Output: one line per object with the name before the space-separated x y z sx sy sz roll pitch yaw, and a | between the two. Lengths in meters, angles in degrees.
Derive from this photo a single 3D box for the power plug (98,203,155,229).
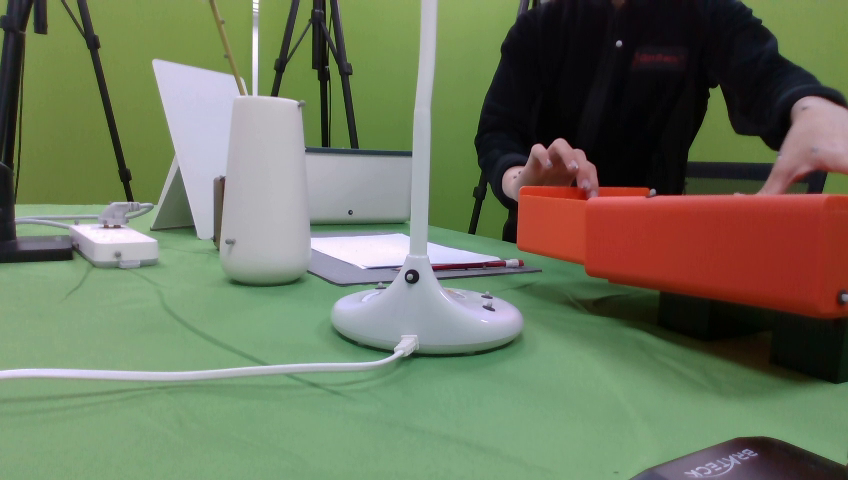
power plug | -0.416 -0.026 0.848 0.073 0.052 0.035 1 8 -28

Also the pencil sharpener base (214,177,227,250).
pencil sharpener base | -0.265 -0.036 0.870 0.061 0.107 0.076 -2 8 -29

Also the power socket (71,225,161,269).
power socket | -0.408 0.004 0.793 0.072 0.032 0.225 -2 8 -38

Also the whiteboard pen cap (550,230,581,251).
whiteboard pen cap | 0.151 0.001 0.640 0.018 0.018 0.033 -4 17 -39

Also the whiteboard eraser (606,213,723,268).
whiteboard eraser | 0.250 0.000 0.639 0.056 0.042 0.112 0 14 -27

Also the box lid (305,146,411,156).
box lid | -0.229 -0.200 1.360 0.373 0.015 0.262 -3 9 -33

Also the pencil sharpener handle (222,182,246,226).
pencil sharpener handle | -0.289 -0.055 0.912 0.036 0.067 0.030 -3 9 -29

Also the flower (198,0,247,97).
flower | -0.187 -0.133 0.648 0.038 0.362 0.044 -1 22 43

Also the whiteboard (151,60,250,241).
whiteboard | -0.408 -0.139 1.093 0.143 0.305 0.218 -15 0 26

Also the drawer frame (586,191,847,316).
drawer frame | 0.283 0.001 0.506 0.203 0.082 0.212 0 4 -27

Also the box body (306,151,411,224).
box body | -0.230 -0.126 1.370 0.366 0.160 0.253 -2 8 -33

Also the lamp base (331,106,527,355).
lamp base | 0.006 -0.012 0.478 0.161 0.180 0.179 2 10 2

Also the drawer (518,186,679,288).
drawer | 0.232 -0.010 0.598 0.195 0.073 0.210 -1 9 -28

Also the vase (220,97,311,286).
vase | -0.172 -0.052 0.662 0.098 0.200 0.098 3 8 0

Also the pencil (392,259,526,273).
pencil | 0.049 0.035 0.782 0.195 0.012 0.012 -3 9 -25

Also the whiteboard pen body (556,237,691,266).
whiteboard pen body | 0.191 0.009 0.597 0.017 0.017 0.140 -5 10 -45
